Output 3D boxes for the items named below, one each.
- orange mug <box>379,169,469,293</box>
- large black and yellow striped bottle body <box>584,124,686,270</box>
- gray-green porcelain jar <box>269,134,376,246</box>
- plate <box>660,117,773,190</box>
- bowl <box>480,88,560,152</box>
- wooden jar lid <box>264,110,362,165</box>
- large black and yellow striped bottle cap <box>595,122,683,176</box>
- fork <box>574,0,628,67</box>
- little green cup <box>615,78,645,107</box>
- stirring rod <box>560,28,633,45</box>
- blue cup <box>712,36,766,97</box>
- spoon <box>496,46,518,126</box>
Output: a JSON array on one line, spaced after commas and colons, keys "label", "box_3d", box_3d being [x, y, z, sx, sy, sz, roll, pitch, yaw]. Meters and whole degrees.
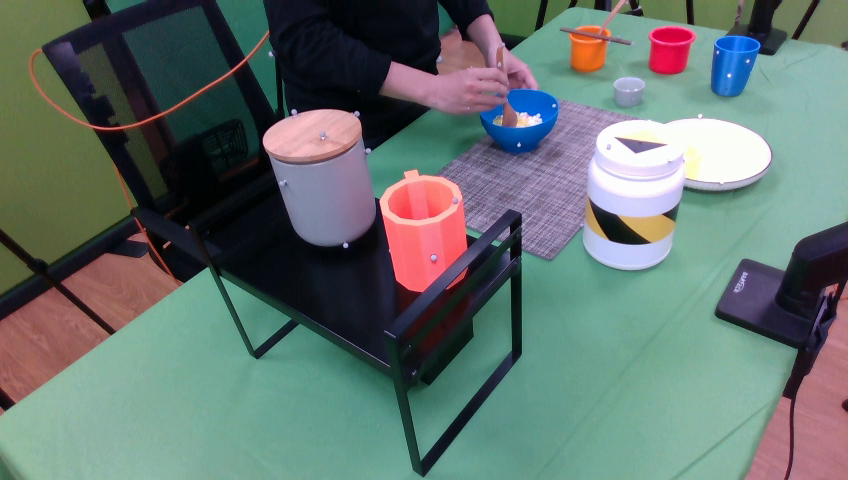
[{"label": "orange mug", "box_3d": [-0.002, -0.019, 0.665, 0.083, 0.101, 0.125, -12, 44, -4]}, {"label": "large black and yellow striped bottle body", "box_3d": [0.304, -0.063, 0.880, 0.131, 0.185, 0.130, -5, 41, 5]}, {"label": "gray-green porcelain jar", "box_3d": [-0.115, -0.064, 0.715, 0.106, 0.127, 0.105, -4, 40, 4]}, {"label": "plate", "box_3d": [0.495, -0.148, 1.063, 0.209, 0.038, 0.208, -5, 40, 4]}, {"label": "bowl", "box_3d": [0.185, -0.222, 1.160, 0.151, 0.077, 0.150, -4, 40, 4]}, {"label": "wooden jar lid", "box_3d": [-0.122, -0.112, 0.673, 0.108, 0.021, 0.108, -4, 37, 4]}, {"label": "large black and yellow striped bottle cap", "box_3d": [0.293, -0.126, 0.826, 0.115, 0.019, 0.114, -3, 40, 3]}, {"label": "fork", "box_3d": [0.413, -0.481, 1.377, 0.207, 0.019, 0.028, -56, 43, 12]}, {"label": "little green cup", "box_3d": [0.426, -0.306, 1.257, 0.061, 0.039, 0.061, -4, 40, 4]}, {"label": "stirring rod", "box_3d": [0.381, -0.452, 1.345, 0.174, 0.006, 0.014, 26, 49, 33]}, {"label": "blue cup", "box_3d": [0.627, -0.350, 1.227, 0.092, 0.100, 0.092, -4, 39, 4]}, {"label": "spoon", "box_3d": [0.144, -0.264, 1.085, 0.042, 0.195, 0.021, -36, 49, -13]}]
